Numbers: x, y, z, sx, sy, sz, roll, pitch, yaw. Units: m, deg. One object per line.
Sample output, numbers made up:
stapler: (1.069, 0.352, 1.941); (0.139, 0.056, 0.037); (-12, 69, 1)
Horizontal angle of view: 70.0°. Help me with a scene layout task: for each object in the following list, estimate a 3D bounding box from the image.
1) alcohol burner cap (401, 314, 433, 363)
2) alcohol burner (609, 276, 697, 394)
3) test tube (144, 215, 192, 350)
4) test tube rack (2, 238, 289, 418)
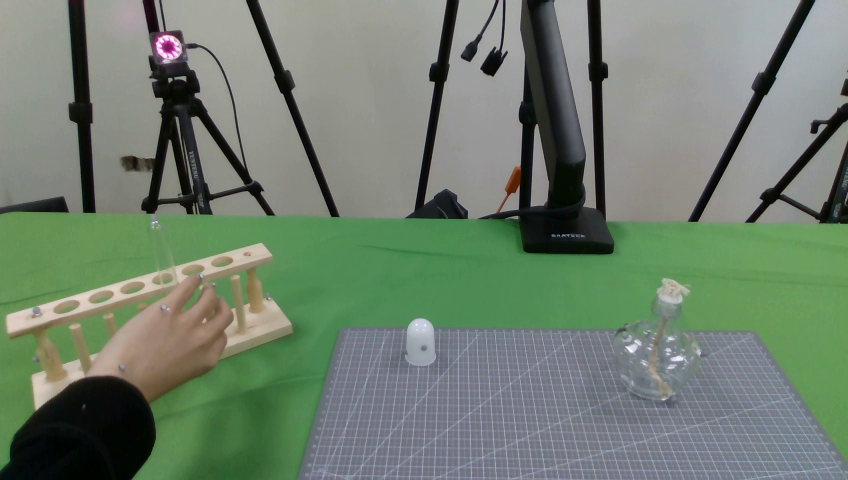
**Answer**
alcohol burner cap: (-0.008, 0.097, 0.611); (0.034, 0.048, 0.033); (-1, 29, 1)
alcohol burner: (0.214, 0.083, 0.559); (0.078, 0.120, 0.077); (1, 30, 0)
test tube: (-0.244, 0.044, 0.580); (0.017, 0.151, 0.017); (0, 30, 0)
test tube rack: (-0.267, 0.080, 0.609); (0.243, 0.086, 0.066); (-18, 34, -28)
